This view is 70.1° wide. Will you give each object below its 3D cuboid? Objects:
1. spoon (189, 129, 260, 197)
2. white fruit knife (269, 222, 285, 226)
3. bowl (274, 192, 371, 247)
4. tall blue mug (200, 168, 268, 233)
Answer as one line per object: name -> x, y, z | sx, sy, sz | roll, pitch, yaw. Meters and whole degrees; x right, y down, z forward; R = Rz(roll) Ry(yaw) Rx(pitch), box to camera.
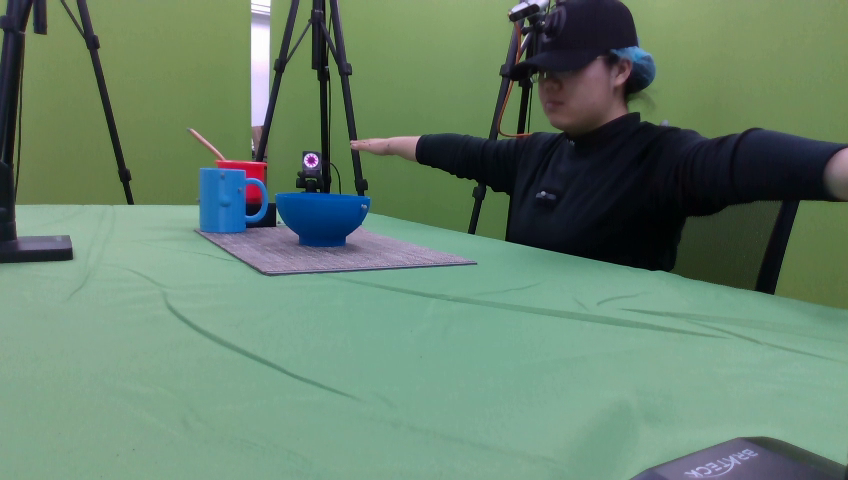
spoon -> -0.388, -0.150, 1.174 | 0.193, 0.021, 0.042 | 49, 20, 7
white fruit knife -> -0.222, -0.038, 1.261 | 0.208, 0.016, 0.027 | -4, -18, -32
bowl -> -0.161, -0.033, 0.958 | 0.151, 0.077, 0.151 | 3, 7, 0
tall blue mug -> -0.342, -0.071, 1.072 | 0.077, 0.108, 0.108 | 8, 9, 38
